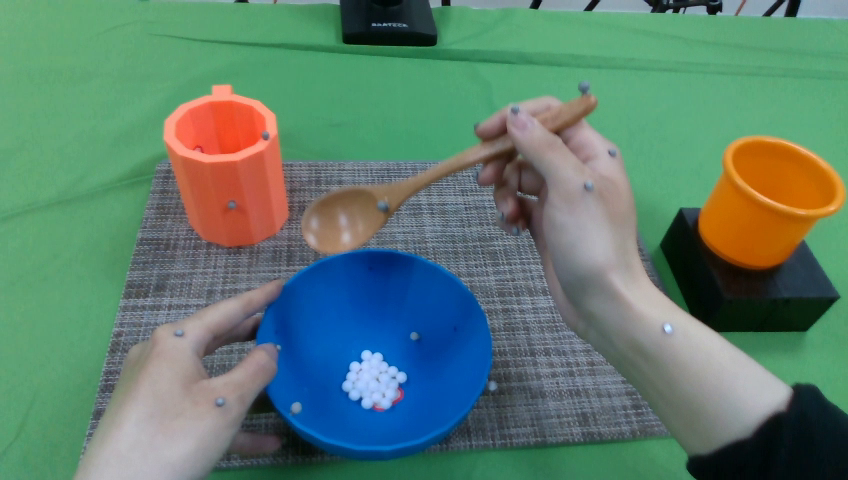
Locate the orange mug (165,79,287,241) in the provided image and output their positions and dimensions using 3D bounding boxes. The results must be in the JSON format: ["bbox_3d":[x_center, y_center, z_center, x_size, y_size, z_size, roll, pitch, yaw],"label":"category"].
[{"bbox_3d":[-0.167,-0.077,0.522,0.084,0.101,0.125,-7,55,-13],"label":"orange mug"}]

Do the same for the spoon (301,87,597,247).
[{"bbox_3d":[0.009,-0.043,0.359,0.193,0.022,0.041,-24,67,21],"label":"spoon"}]

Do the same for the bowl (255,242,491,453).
[{"bbox_3d":[-0.034,0.083,0.414,0.151,0.077,0.150,4,49,-4],"label":"bowl"}]
